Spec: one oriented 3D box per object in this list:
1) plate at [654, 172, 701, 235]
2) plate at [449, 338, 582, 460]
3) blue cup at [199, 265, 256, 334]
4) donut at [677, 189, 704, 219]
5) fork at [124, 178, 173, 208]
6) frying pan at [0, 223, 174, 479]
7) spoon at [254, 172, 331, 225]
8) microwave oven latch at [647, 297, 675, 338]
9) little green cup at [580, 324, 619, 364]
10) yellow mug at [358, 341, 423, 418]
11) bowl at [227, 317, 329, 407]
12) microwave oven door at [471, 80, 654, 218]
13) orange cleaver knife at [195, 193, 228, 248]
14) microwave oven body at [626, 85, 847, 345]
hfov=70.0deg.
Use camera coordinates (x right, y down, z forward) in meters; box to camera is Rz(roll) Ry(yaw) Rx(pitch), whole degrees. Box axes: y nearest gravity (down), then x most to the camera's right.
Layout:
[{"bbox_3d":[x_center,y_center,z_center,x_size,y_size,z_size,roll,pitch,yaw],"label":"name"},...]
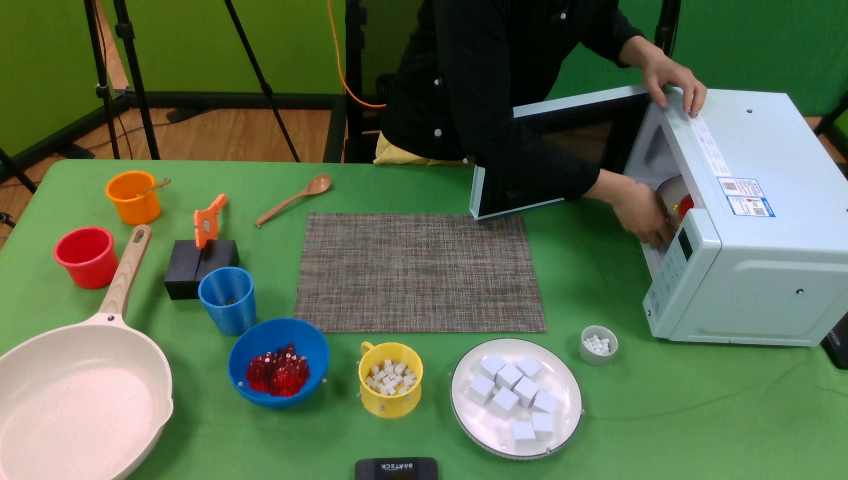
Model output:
[{"bbox_3d":[0.553,-0.052,1.186,0.209,0.038,0.208,2,47,-2],"label":"plate"},{"bbox_3d":[0.141,0.251,0.955,0.208,0.039,0.206,2,46,-2],"label":"plate"},{"bbox_3d":[-0.321,0.107,1.014,0.093,0.101,0.092,2,48,-2],"label":"blue cup"},{"bbox_3d":[0.539,-0.060,1.170,0.099,0.048,0.098,1,44,0],"label":"donut"},{"bbox_3d":[-0.525,-0.090,1.154,0.207,0.019,0.028,-17,27,45],"label":"fork"},{"bbox_3d":[-0.505,0.169,0.941,0.307,0.103,0.485,5,54,-1],"label":"frying pan"},{"bbox_3d":[-0.272,-0.087,1.257,0.041,0.022,0.193,45,57,13],"label":"spoon"},{"bbox_3d":[0.413,0.133,1.060,0.030,0.029,0.078,5,46,2],"label":"microwave oven latch"},{"bbox_3d":[0.296,0.179,1.031,0.061,0.039,0.061,2,45,-2],"label":"little green cup"},{"bbox_3d":[-0.062,0.210,0.961,0.100,0.064,0.130,-29,54,-27],"label":"yellow mug"},{"bbox_3d":[-0.222,0.203,0.947,0.151,0.077,0.150,2,46,-2],"label":"bowl"},{"bbox_3d":[0.272,-0.180,1.206,0.356,0.245,0.039,-14,49,-16],"label":"microwave oven door"},{"bbox_3d":[-0.406,-0.041,1.163,0.012,0.077,0.210,0,18,-3],"label":"orange cleaver knife"},{"bbox_3d":[0.568,-0.054,1.116,0.326,0.261,0.439,2,46,-1],"label":"microwave oven body"}]
